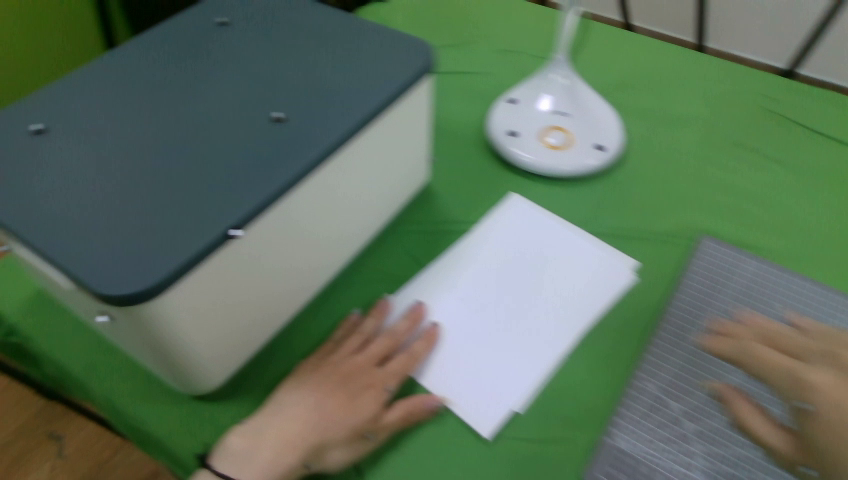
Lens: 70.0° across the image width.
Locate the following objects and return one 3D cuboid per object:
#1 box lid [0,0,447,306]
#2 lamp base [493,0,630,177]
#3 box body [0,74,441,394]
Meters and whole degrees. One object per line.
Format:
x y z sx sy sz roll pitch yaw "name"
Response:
-0.180 -0.116 0.516 0.261 0.015 0.370 27 54 23 "box lid"
0.161 -0.192 0.669 0.160 0.182 0.177 2 46 2 "lamp base"
-0.178 -0.068 0.572 0.252 0.162 0.363 28 54 22 "box body"
